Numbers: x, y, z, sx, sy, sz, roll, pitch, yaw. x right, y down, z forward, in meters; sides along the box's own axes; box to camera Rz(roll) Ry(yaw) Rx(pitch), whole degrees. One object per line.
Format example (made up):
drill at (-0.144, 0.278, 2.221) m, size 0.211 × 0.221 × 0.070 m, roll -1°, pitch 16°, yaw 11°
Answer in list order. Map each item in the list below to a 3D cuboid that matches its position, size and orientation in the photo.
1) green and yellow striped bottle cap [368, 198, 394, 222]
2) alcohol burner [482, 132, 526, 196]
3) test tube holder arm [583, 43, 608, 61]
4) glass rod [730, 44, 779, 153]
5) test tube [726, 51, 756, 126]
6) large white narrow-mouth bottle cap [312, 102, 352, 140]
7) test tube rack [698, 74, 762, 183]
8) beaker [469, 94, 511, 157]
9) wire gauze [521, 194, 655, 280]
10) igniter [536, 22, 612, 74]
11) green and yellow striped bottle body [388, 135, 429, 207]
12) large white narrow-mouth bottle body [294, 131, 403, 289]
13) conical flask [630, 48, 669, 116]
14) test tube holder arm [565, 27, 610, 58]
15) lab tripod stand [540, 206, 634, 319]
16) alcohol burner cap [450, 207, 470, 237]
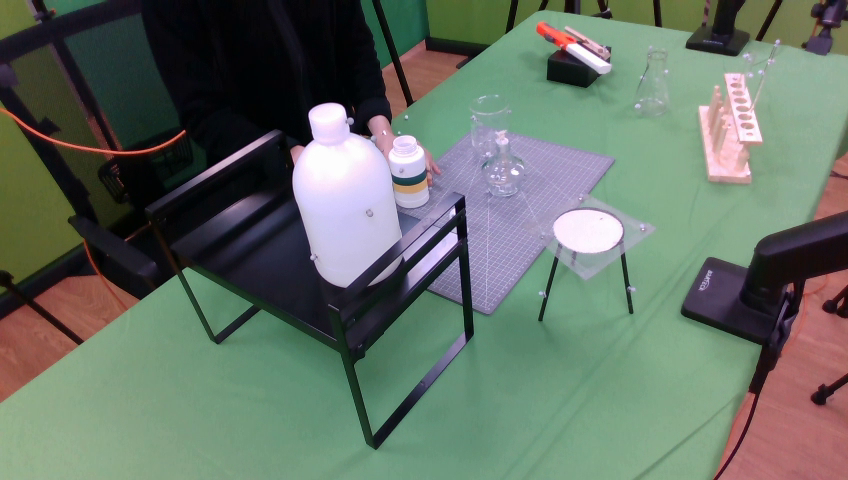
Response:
green and yellow striped bottle cap at (-0.071, -0.050, 0.998) m, size 0.045 × 0.020 × 0.045 m, roll 0°, pitch 39°, yaw 0°
alcohol burner at (0.137, -0.136, 1.042) m, size 0.078 × 0.119 × 0.077 m, roll -4°, pitch 43°, yaw 4°
test tube holder arm at (0.379, -0.420, 1.341) m, size 0.010 × 0.015 × 0.087 m, roll -39°, pitch 41°, yaw 10°
glass rod at (0.555, -0.233, 1.020) m, size 0.008 × 0.200 × 0.008 m, roll 2°, pitch 40°, yaw -1°
test tube at (0.568, -0.268, 1.085) m, size 0.017 × 0.151 × 0.017 m, roll -4°, pitch 46°, yaw 5°
large white narrow-mouth bottle cap at (-0.088, -0.114, 0.579) m, size 0.038 × 0.024 × 0.037 m, roll -3°, pitch 39°, yaw 3°
test tube rack at (0.547, -0.208, 1.095) m, size 0.066 × 0.085 × 0.242 m, roll 5°, pitch 42°, yaw 15°
beaker at (0.124, -0.216, 1.148) m, size 0.074 × 0.101 × 0.083 m, roll -21°, pitch 42°, yaw -16°
wire gauze at (0.207, -0.012, 0.772) m, size 0.122 × 0.011 × 0.124 m, roll -28°, pitch 44°, yaw -20°
igniter at (0.330, -0.439, 1.366) m, size 0.057 × 0.025 × 0.274 m, roll -11°, pitch 41°, yaw -20°
green and yellow striped bottle body at (-0.027, -0.121, 1.042) m, size 0.063 × 0.120 × 0.063 m, roll -4°, pitch 40°, yaw 4°
large white narrow-mouth bottle body at (-0.082, -0.047, 0.634) m, size 0.102 × 0.195 × 0.101 m, roll -4°, pitch 39°, yaw 3°
conical flask at (0.456, -0.317, 1.205) m, size 0.075 × 0.122 × 0.075 m, roll -4°, pitch 41°, yaw 4°
test tube holder arm at (0.369, -0.450, 1.373) m, size 0.013 × 0.015 × 0.177 m, roll -39°, pitch 41°, yaw 10°
lab tripod stand at (0.218, 0.034, 0.821) m, size 0.148 × 0.132 × 0.147 m, roll -4°, pitch 42°, yaw 4°
alcohol burner cap at (0.057, -0.032, 0.987) m, size 0.034 × 0.048 × 0.033 m, roll -4°, pitch 41°, yaw 4°
